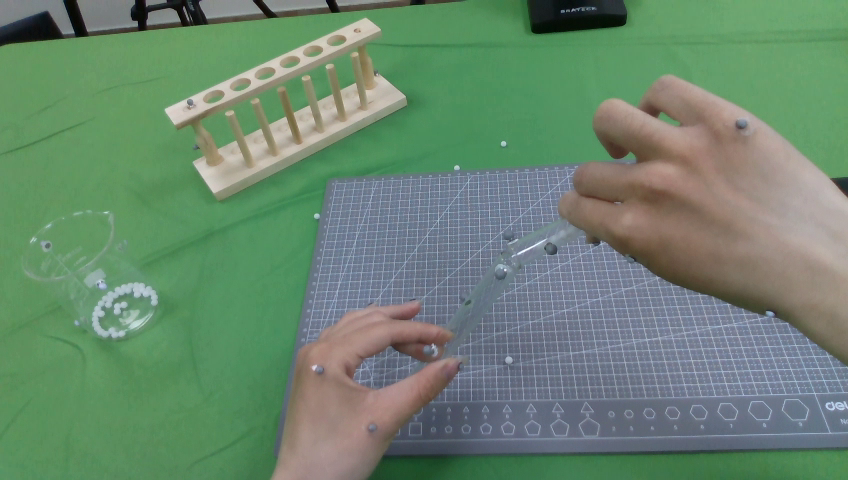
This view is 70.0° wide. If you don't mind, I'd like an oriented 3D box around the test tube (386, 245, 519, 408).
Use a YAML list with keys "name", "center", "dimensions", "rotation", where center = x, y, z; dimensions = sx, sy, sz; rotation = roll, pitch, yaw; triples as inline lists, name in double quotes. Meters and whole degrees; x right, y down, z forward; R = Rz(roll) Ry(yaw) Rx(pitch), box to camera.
- name: "test tube"
  center: [0.014, 0.061, 0.390]
  dimensions: [0.017, 0.151, 0.017]
  rotation: [25, 31, -16]

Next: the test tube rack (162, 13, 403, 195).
- name: "test tube rack"
  center: [-0.146, -0.152, 0.665]
  dimensions: [0.242, 0.086, 0.066]
  rotation: [-31, 53, -17]

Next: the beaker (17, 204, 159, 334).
- name: "beaker"
  center: [-0.283, 0.028, 0.527]
  dimensions: [0.073, 0.101, 0.083]
  rotation: [20, 55, 22]

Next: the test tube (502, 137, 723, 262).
- name: "test tube"
  center: [0.115, -0.026, 0.362]
  dimensions: [0.150, 0.017, 0.017]
  rotation: [-26, 52, -8]
